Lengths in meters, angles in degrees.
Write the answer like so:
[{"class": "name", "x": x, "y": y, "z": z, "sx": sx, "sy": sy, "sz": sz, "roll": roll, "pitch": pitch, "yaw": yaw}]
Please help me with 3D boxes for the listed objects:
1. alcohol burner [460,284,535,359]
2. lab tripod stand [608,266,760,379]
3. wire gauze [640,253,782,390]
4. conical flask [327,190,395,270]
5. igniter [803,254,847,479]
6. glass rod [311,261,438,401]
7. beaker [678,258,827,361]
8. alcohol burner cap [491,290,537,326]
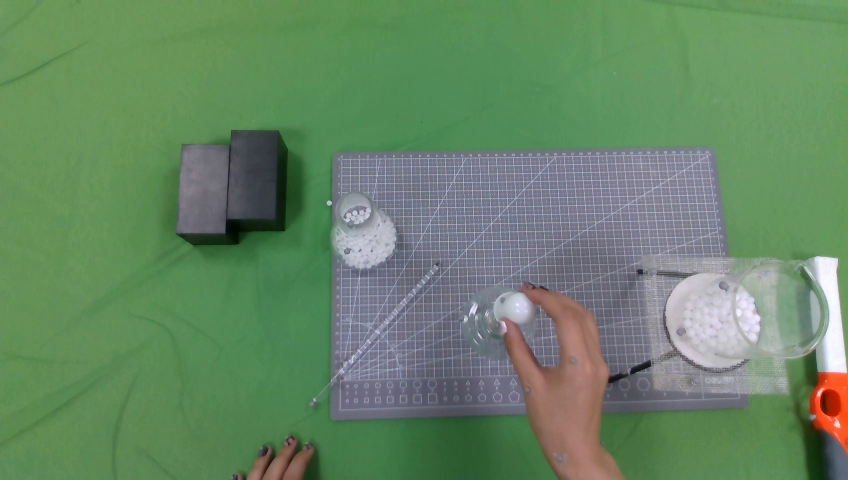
[{"class": "alcohol burner", "x": 0.076, "y": 0.080, "z": 0.610, "sx": 0.078, "sy": 0.119, "sz": 0.077, "roll": 0, "pitch": 77, "yaw": 0}, {"class": "lab tripod stand", "x": 0.255, "y": 0.089, "z": 0.605, "sx": 0.148, "sy": 0.132, "sz": 0.147, "roll": 0, "pitch": 79, "yaw": -2}, {"class": "wire gauze", "x": 0.258, "y": 0.072, "z": 0.541, "sx": 0.125, "sy": 0.011, "sz": 0.121, "roll": 2, "pitch": 80, "yaw": -3}, {"class": "conical flask", "x": -0.068, "y": -0.016, "z": 0.621, "sx": 0.075, "sy": 0.122, "sz": 0.075, "roll": 0, "pitch": 77, "yaw": -2}, {"class": "igniter", "x": 0.440, "y": 0.151, "z": 0.655, "sx": 0.057, "sy": 0.025, "sz": 0.275, "roll": 6, "pitch": 77, "yaw": -12}, {"class": "glass rod", "x": -0.051, "y": 0.096, "z": 0.654, "sx": 0.008, "sy": 0.008, "sz": 0.199, "roll": 41, "pitch": 79, "yaw": 7}, {"class": "beaker", "x": 0.262, "y": 0.057, "z": 0.495, "sx": 0.074, "sy": 0.100, "sz": 0.084, "roll": 34, "pitch": 79, "yaw": 5}, {"class": "alcohol burner cap", "x": 0.081, "y": 0.059, "z": 0.534, "sx": 0.034, "sy": 0.048, "sz": 0.033, "roll": 2, "pitch": 81, "yaw": -11}]
